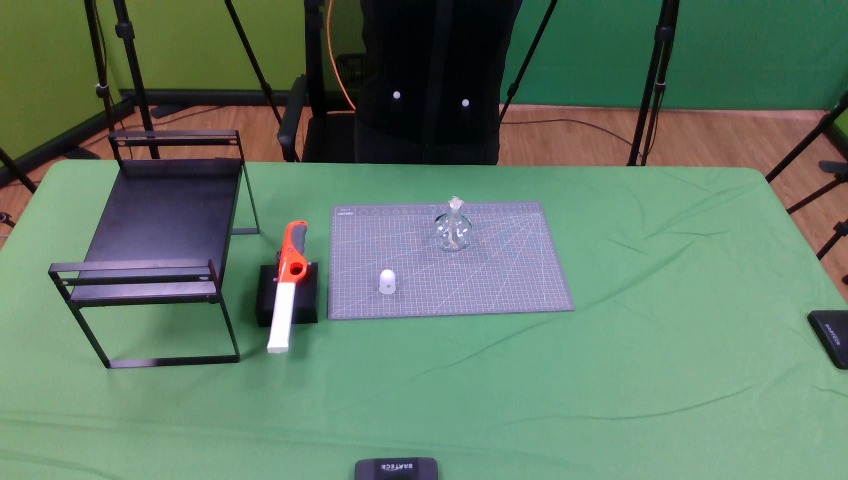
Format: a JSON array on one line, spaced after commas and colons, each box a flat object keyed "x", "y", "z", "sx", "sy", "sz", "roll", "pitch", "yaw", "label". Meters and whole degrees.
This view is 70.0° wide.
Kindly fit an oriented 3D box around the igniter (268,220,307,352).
[{"x": -0.235, "y": 0.068, "z": 1.045, "sx": 0.057, "sy": 0.025, "sz": 0.274, "roll": 1, "pitch": 49, "yaw": -4, "label": "igniter"}]

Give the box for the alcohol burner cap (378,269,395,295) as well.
[{"x": -0.068, "y": 0.073, "z": 1.103, "sx": 0.034, "sy": 0.048, "sz": 0.033, "roll": 3, "pitch": 46, "yaw": -3, "label": "alcohol burner cap"}]

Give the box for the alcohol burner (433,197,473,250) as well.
[{"x": 0.058, "y": -0.038, "z": 1.169, "sx": 0.078, "sy": 0.119, "sz": 0.077, "roll": 3, "pitch": 45, "yaw": -3, "label": "alcohol burner"}]
